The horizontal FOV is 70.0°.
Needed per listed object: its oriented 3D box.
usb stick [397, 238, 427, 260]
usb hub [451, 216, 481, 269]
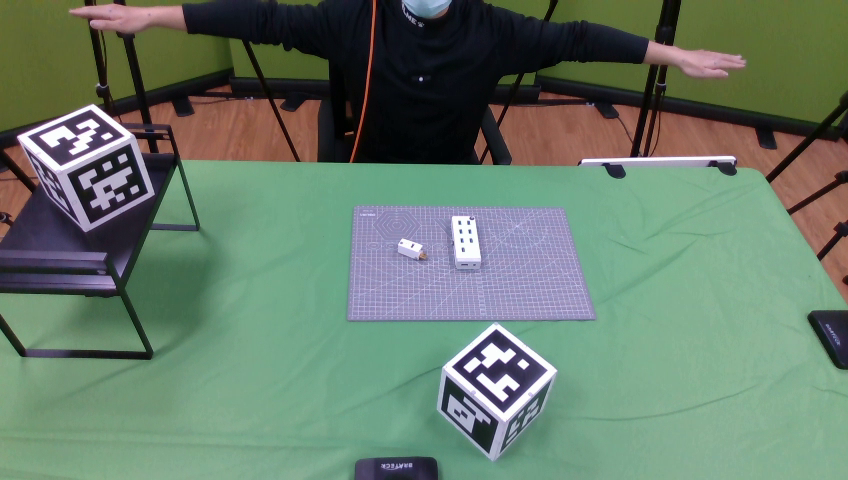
[{"bbox_3d":[-0.021,0.020,1.169,0.059,0.027,0.021,22,48,13],"label":"usb stick"},{"bbox_3d":[0.082,0.004,1.194,0.049,0.025,0.124,1,46,-4],"label":"usb hub"}]
